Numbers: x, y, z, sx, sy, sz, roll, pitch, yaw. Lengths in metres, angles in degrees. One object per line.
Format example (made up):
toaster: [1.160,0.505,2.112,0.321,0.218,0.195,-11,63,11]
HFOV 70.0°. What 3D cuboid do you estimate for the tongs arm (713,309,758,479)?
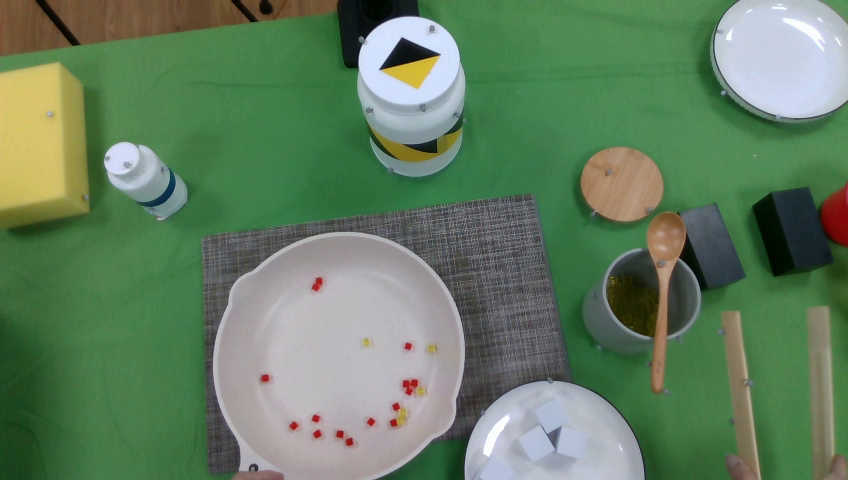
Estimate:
tongs arm: [0.348,0.261,0.622,0.051,0.026,0.384,-4,85,-23]

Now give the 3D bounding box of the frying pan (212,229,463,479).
frying pan: [-0.157,0.211,0.692,0.305,0.103,0.486,32,69,11]

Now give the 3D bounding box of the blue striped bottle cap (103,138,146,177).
blue striped bottle cap: [-0.361,-0.100,0.729,0.044,0.021,0.044,0,75,1]

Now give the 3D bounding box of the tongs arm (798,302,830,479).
tongs arm: [0.415,0.260,0.647,0.028,0.027,0.386,8,81,-25]

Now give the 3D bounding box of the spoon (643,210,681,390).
spoon: [0.250,0.062,0.648,0.042,0.022,0.193,9,77,-3]

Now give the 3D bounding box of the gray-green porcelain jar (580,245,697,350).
gray-green porcelain jar: [0.246,0.073,0.717,0.106,0.127,0.105,0,73,1]

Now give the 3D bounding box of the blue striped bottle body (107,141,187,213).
blue striped bottle body: [-0.359,-0.084,0.777,0.063,0.121,0.062,0,73,1]

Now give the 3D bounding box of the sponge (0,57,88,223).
sponge: [-0.538,-0.136,0.827,0.118,0.061,0.205,-12,75,-3]

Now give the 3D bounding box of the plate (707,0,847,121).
plate: [0.503,-0.259,0.856,0.209,0.038,0.208,0,73,1]

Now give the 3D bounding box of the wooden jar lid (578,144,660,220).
wooden jar lid: [0.261,-0.076,0.817,0.108,0.021,0.108,0,75,1]

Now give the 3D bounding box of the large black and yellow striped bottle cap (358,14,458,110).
large black and yellow striped bottle cap: [-0.018,-0.203,0.686,0.115,0.019,0.114,0,75,1]

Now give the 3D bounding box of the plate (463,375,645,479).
plate: [0.149,0.263,0.708,0.208,0.039,0.206,0,75,1]

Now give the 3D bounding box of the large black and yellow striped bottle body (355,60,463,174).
large black and yellow striped bottle body: [-0.016,-0.177,0.767,0.131,0.185,0.130,0,73,1]
